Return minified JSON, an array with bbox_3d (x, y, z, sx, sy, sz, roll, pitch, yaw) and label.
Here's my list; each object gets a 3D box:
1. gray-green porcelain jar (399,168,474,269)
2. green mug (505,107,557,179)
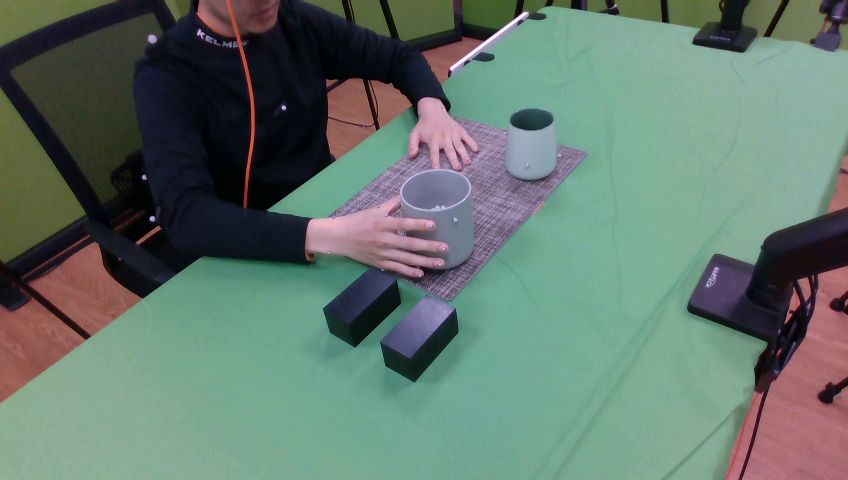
[{"bbox_3d":[0.022,-0.028,0.911,0.106,0.127,0.105,-4,41,4],"label":"gray-green porcelain jar"},{"bbox_3d":[0.189,-0.180,1.082,0.092,0.105,0.124,-6,41,2],"label":"green mug"}]
